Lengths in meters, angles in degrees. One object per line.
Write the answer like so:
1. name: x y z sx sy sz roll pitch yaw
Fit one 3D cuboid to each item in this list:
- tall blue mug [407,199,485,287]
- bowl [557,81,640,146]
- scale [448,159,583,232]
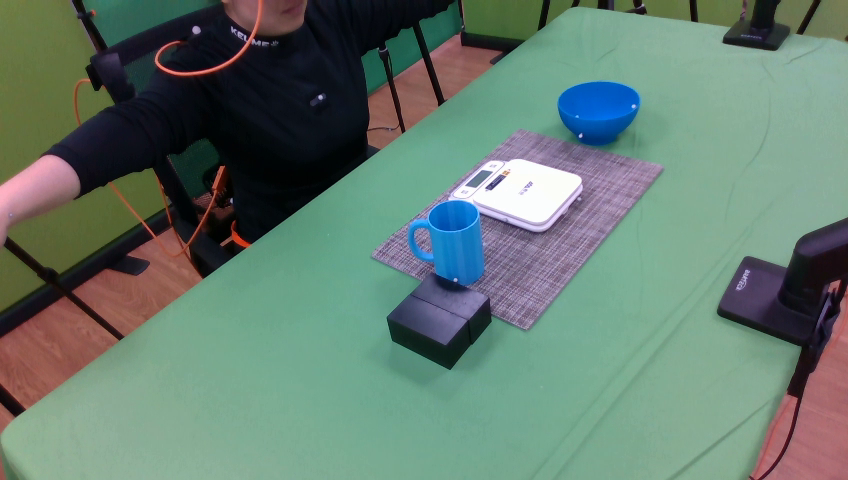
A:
1. tall blue mug: 0.034 0.008 0.892 0.107 0.108 0.077 -13 41 -5
2. bowl: 0.330 -0.233 1.152 0.151 0.077 0.150 -5 40 5
3. scale: 0.156 -0.085 1.039 0.199 0.032 0.149 22 49 32
